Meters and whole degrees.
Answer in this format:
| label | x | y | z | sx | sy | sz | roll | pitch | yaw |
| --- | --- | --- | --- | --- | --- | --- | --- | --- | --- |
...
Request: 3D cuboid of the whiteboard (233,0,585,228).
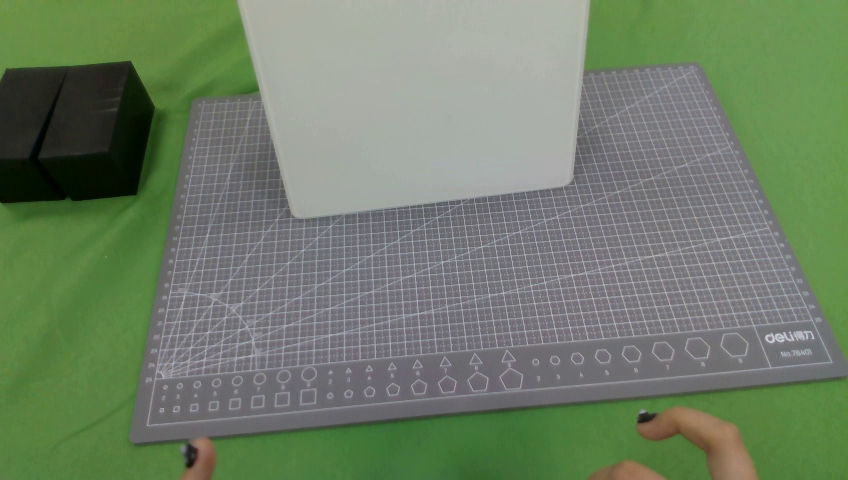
| label | x | y | z | sx | sy | sz | roll | pitch | yaw |
| --- | --- | --- | --- | --- | --- | --- | --- | --- | --- |
| whiteboard | -0.011 | -0.185 | 0.421 | 0.217 | 0.308 | 0.142 | -7 | 37 | -2 |
